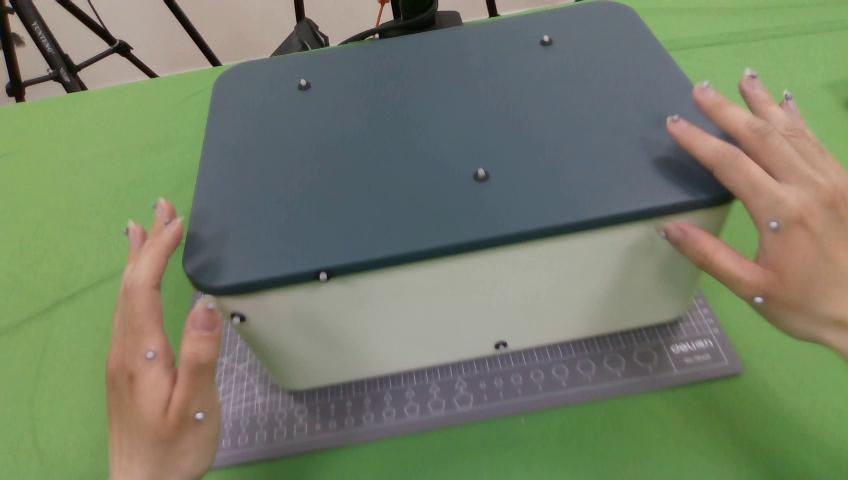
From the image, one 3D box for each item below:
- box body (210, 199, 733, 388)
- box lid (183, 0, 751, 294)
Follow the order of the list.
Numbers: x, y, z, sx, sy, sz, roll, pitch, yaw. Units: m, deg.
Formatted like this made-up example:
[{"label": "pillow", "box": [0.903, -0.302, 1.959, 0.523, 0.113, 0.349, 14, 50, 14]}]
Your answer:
[{"label": "box body", "box": [0.025, -0.040, 0.511, 0.364, 0.162, 0.251, -11, 47, 0]}, {"label": "box lid", "box": [0.013, -0.090, 0.456, 0.372, 0.015, 0.260, -10, 47, -1]}]
